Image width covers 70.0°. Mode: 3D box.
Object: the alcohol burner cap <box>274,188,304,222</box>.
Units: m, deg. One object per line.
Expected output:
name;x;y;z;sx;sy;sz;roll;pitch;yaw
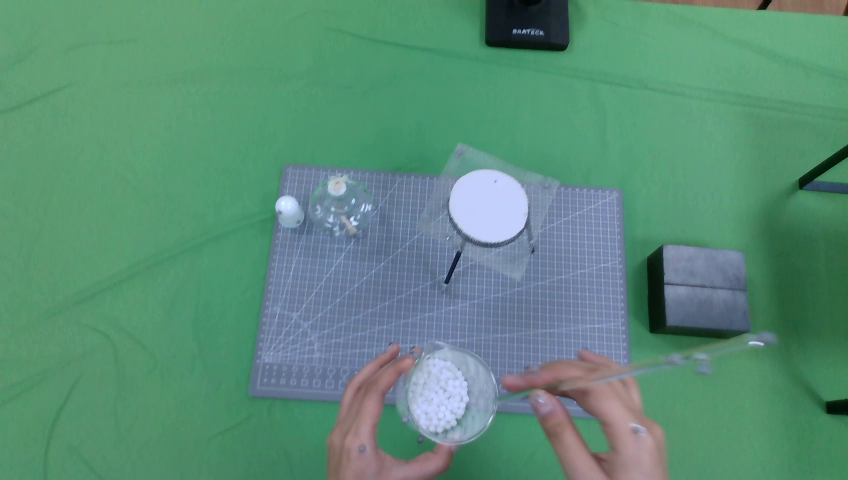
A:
alcohol burner cap;-0.169;-0.045;0.751;0.034;0.048;0.033;1;71;-2

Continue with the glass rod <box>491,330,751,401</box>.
glass rod;0.100;0.079;0.357;0.008;0.199;0.008;13;63;-27

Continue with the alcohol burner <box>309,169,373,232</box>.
alcohol burner;-0.100;-0.054;0.721;0.078;0.119;0.077;2;71;-4

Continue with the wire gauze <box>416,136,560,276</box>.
wire gauze;0.069;-0.041;0.646;0.125;0.011;0.121;25;72;4

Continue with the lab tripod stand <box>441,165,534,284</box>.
lab tripod stand;0.070;-0.021;0.710;0.148;0.132;0.147;1;70;-4

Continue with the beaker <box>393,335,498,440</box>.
beaker;0.012;0.125;0.516;0.074;0.100;0.083;-20;79;-14
